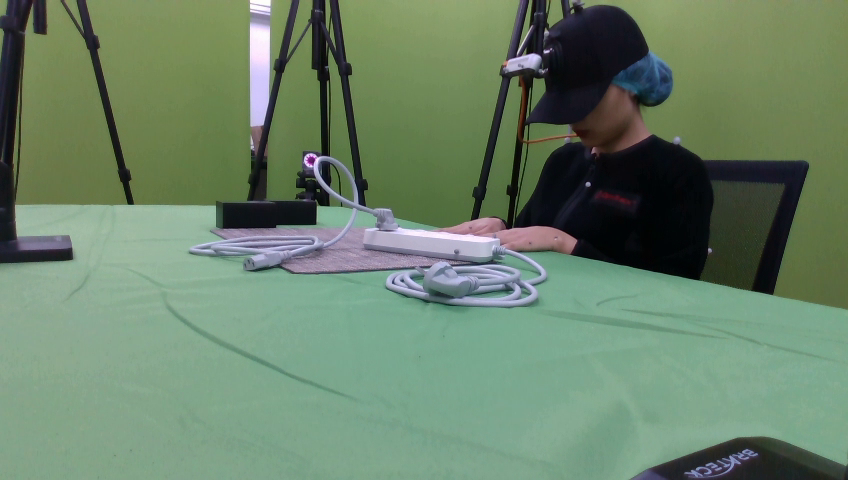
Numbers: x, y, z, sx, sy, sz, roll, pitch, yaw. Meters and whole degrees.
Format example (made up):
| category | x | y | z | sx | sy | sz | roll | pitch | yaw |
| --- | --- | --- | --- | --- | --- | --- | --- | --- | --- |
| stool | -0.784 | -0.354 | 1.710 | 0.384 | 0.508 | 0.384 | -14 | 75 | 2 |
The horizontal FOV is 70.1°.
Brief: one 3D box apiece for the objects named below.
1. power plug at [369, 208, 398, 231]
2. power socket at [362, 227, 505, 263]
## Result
| category | x | y | z | sx | sy | sz | roll | pitch | yaw |
| --- | --- | --- | --- | --- | --- | --- | --- | --- | --- |
| power plug | -0.069 | -0.022 | 0.915 | 0.035 | 0.052 | 0.073 | 10 | 9 | 38 |
| power socket | 0.009 | 0.004 | 0.909 | 0.226 | 0.032 | 0.072 | 7 | 9 | 28 |
